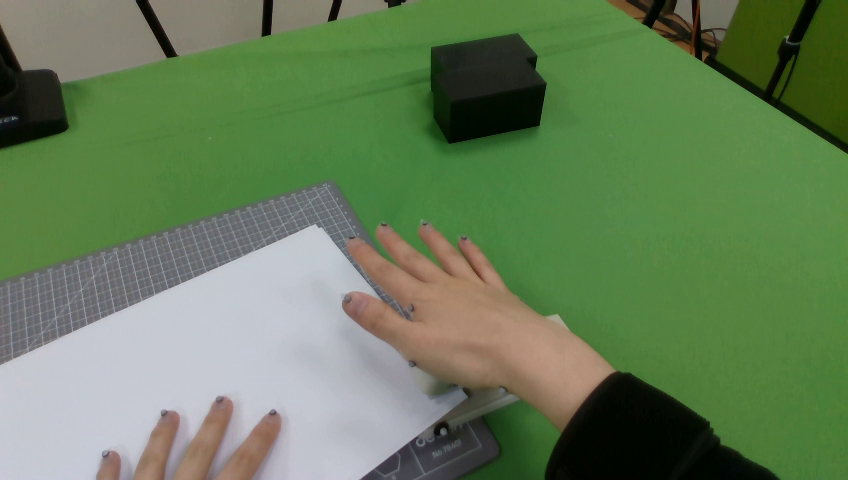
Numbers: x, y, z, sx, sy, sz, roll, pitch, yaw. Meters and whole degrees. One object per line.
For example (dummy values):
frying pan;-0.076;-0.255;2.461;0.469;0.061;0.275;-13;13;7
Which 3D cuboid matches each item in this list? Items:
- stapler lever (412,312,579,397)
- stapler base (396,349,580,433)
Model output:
stapler lever;0.048;0.069;0.391;0.118;0.040;0.026;-16;52;-21
stapler base;0.045;0.088;0.409;0.131;0.024;0.041;-16;52;-21
